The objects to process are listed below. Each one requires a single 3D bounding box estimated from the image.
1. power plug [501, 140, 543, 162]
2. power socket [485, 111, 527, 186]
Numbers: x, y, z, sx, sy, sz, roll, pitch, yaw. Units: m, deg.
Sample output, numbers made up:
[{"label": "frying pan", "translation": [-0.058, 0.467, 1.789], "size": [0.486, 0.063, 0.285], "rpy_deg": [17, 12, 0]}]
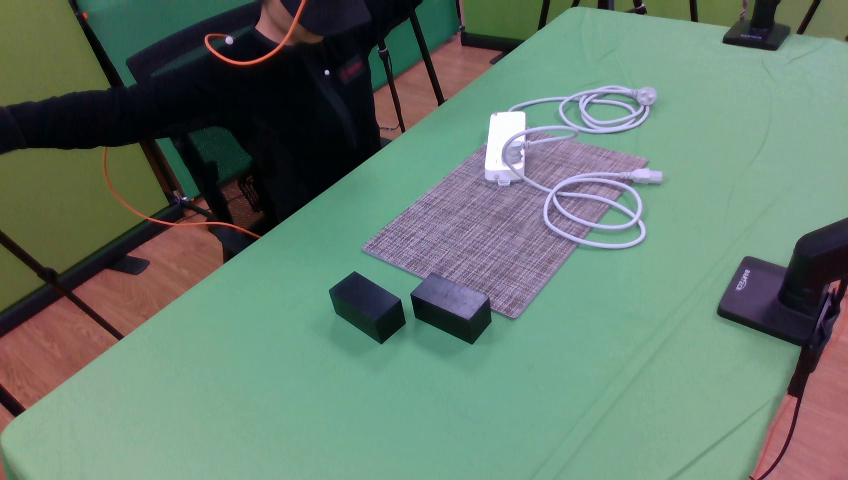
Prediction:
[{"label": "power plug", "translation": [0.174, -0.150, 1.078], "size": [0.072, 0.053, 0.035], "rpy_deg": [6, 42, 20]}, {"label": "power socket", "translation": [0.159, -0.181, 1.153], "size": [0.072, 0.033, 0.226], "rpy_deg": [0, 41, 11]}]
